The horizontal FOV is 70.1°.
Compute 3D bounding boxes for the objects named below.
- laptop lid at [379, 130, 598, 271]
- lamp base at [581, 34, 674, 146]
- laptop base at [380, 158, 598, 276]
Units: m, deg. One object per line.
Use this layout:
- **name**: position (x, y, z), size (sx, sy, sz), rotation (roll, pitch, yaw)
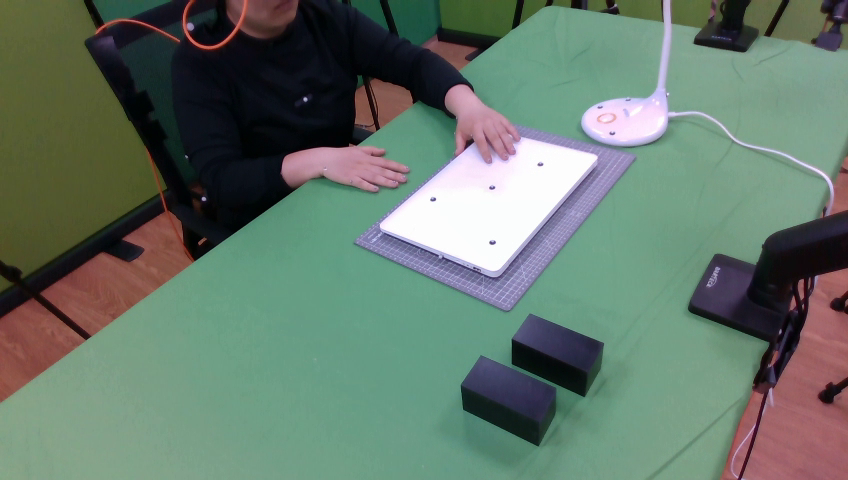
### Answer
- **laptop lid**: position (0.117, -0.087, 1.037), size (0.240, 0.013, 0.358), rotation (22, 48, 33)
- **lamp base**: position (0.392, -0.291, 1.129), size (0.180, 0.181, 0.159), rotation (-11, 41, -8)
- **laptop base**: position (0.120, -0.077, 1.043), size (0.233, 0.023, 0.355), rotation (19, 47, 33)
